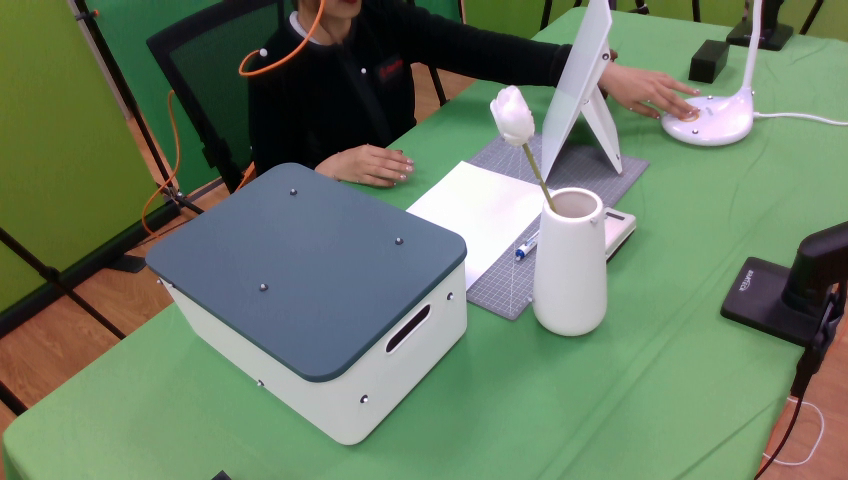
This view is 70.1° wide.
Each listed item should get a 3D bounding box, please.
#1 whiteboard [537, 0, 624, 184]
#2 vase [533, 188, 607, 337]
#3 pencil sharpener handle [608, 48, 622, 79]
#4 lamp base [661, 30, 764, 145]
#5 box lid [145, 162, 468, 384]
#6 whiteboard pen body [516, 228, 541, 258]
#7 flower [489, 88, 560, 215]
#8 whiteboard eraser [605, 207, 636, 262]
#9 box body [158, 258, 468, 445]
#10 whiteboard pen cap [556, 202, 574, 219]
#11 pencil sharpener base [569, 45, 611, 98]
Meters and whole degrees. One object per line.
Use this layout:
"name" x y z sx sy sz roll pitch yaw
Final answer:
"whiteboard" 0.316 -0.256 1.047 0.144 0.306 0.216 15 42 -1
"vase" 0.187 0.033 0.771 0.098 0.201 0.097 -6 41 6
"pencil sharpener handle" 0.395 -0.368 1.254 0.031 0.068 0.036 -10 32 -1
"lamp base" 0.535 -0.287 1.096 0.179 0.181 0.159 -10 40 -4
"box lid" -0.157 0.014 0.769 0.368 0.015 0.264 25 51 33
"whiteboard pen body" 0.192 -0.015 0.963 0.017 0.017 0.141 26 51 34
"flower" 0.158 -0.027 0.720 0.038 0.364 0.044 -14 44 23
"whiteboard eraser" 0.272 -0.003 0.919 0.055 0.042 0.113 27 51 32
"box body" -0.147 0.072 0.816 0.361 0.161 0.255 24 50 33
"whiteboard pen cap" 0.231 -0.048 0.994 0.018 0.018 0.033 26 54 34
"pencil sharpener base" 0.346 -0.352 1.263 0.077 0.107 0.061 -10 40 -1
